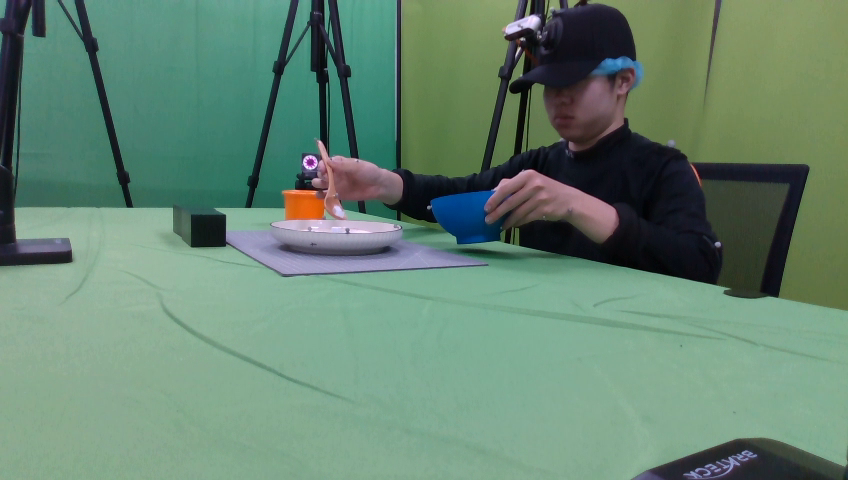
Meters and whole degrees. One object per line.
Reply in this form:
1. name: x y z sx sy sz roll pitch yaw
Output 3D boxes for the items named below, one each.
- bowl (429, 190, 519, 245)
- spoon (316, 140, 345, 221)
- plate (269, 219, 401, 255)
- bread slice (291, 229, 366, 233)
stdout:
1. bowl: 0.086 -0.034 1.003 0.151 0.076 0.151 -5 -2 0
2. spoon: -0.161 -0.104 1.018 0.042 0.193 0.021 23 -49 -40
3. plate: -0.140 -0.006 0.958 0.209 0.038 0.209 3 7 0
4. bread slice: -0.143 -0.003 0.953 0.135 0.018 0.106 -1 8 -37
